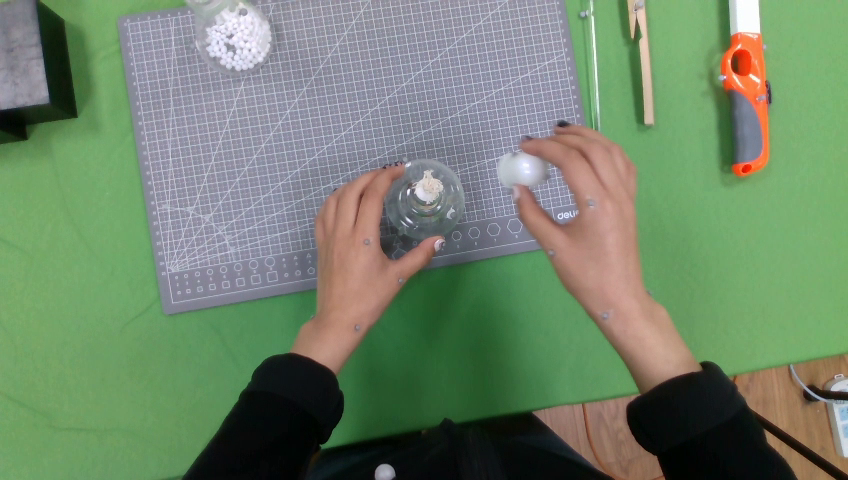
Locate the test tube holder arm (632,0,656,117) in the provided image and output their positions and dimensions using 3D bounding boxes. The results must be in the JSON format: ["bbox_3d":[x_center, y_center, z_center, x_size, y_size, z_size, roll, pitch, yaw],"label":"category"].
[{"bbox_3d":[0.225,-0.217,0.631,0.013,0.015,0.178,-10,89,32],"label":"test tube holder arm"}]

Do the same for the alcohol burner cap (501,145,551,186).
[{"bbox_3d":[0.084,-0.062,0.485,0.034,0.047,0.034,0,92,-12],"label":"alcohol burner cap"}]

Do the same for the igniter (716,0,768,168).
[{"bbox_3d":[0.332,-0.213,0.636,0.057,0.025,0.276,-1,89,-14],"label":"igniter"}]

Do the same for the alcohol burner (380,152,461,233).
[{"bbox_3d":[-0.003,-0.046,0.562,0.078,0.119,0.078,0,87,-2],"label":"alcohol burner"}]

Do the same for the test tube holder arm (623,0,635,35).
[{"bbox_3d":[0.213,-0.261,0.635,0.010,0.015,0.088,-8,90,32],"label":"test tube holder arm"}]

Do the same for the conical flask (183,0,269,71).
[{"bbox_3d":[-0.188,-0.207,0.548,0.075,0.122,0.075,0,88,-4],"label":"conical flask"}]

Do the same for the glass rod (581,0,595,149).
[{"bbox_3d":[0.170,-0.194,0.633,0.008,0.008,0.199,-3,91,-4],"label":"glass rod"}]
